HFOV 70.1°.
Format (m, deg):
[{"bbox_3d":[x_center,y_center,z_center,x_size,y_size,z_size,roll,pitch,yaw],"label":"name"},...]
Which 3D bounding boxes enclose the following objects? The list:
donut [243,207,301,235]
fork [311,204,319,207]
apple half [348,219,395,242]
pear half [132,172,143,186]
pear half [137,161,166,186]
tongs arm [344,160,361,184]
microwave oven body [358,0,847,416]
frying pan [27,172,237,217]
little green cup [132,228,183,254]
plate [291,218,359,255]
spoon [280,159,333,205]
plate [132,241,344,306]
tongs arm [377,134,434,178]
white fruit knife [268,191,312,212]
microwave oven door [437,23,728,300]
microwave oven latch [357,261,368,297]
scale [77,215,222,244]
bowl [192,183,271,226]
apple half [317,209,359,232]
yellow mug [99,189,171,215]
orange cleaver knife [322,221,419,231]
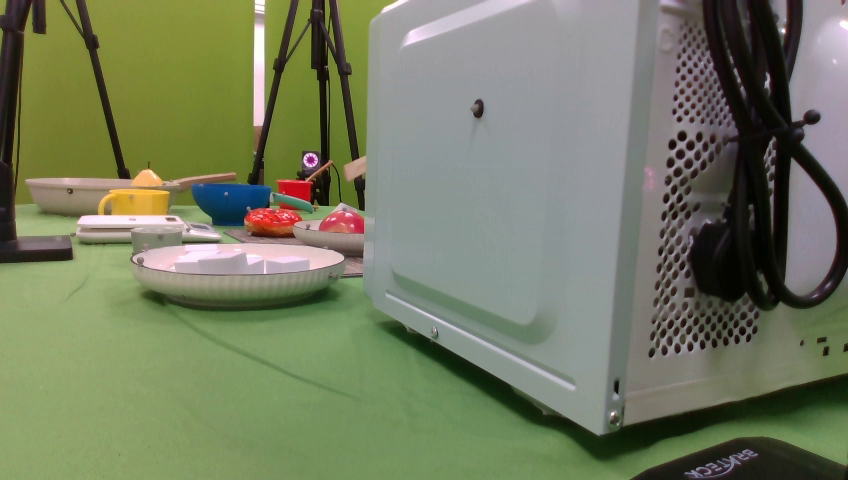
[{"bbox_3d":[-0.261,-0.032,1.043,0.099,0.048,0.099,4,9,0],"label":"donut"},{"bbox_3d":[-0.356,-0.105,1.526,0.208,0.018,0.028,16,-6,-41],"label":"fork"},{"bbox_3d":[-0.083,-0.018,0.966,0.081,0.033,0.081,6,10,-1],"label":"apple half"},{"bbox_3d":[-0.638,-0.113,1.361,0.031,0.088,0.070,5,11,4],"label":"pear half"},{"bbox_3d":[-0.602,-0.120,1.354,0.056,0.110,0.076,4,11,6],"label":"pear half"},{"bbox_3d":[-0.067,-0.151,1.093,0.028,0.028,0.388,-13,13,18],"label":"tongs arm"},{"bbox_3d":[0.211,-0.047,0.475,0.444,0.260,0.324,-1,7,-28],"label":"microwave oven body"},{"bbox_3d":[-0.624,-0.118,1.387,0.305,0.102,0.490,8,17,32],"label":"frying pan"},{"bbox_3d":[-0.342,0.006,0.779,0.061,0.038,0.061,2,8,0],"label":"little green cup"},{"bbox_3d":[-0.098,-0.007,0.928,0.209,0.038,0.209,2,8,0],"label":"plate"},{"bbox_3d":[-0.316,-0.159,1.640,0.194,0.022,0.041,-49,31,-20],"label":"spoon"},{"bbox_3d":[-0.187,0.033,0.625,0.208,0.039,0.207,2,8,0],"label":"plate"},{"bbox_3d":[-0.036,-0.156,1.085,0.050,0.026,0.385,-9,14,19],"label":"tongs arm"},{"bbox_3d":[-0.364,-0.105,1.464,0.208,0.027,0.016,15,0,-34],"label":"white fruit knife"},{"bbox_3d":[0.180,-0.072,0.621,0.358,0.243,0.039,-2,8,-29],"label":"microwave oven door"},{"bbox_3d":[-0.019,0.033,0.531,0.079,0.029,0.030,-1,7,-27],"label":"microwave oven latch"},{"bbox_3d":[-0.434,-0.019,0.963,0.202,0.031,0.148,-1,9,-27],"label":"scale"},{"bbox_3d":[-0.382,-0.071,1.202,0.151,0.077,0.151,3,7,0],"label":"bowl"},{"bbox_3d":[-0.122,-0.020,0.900,0.080,0.053,0.075,3,10,14],"label":"apple half"},{"bbox_3d":[-0.518,-0.055,1.080,0.099,0.064,0.131,7,9,26],"label":"yellow mug"},{"bbox_3d":[-0.096,-0.026,1.152,0.077,0.012,0.212,3,7,41],"label":"orange cleaver knife"}]
